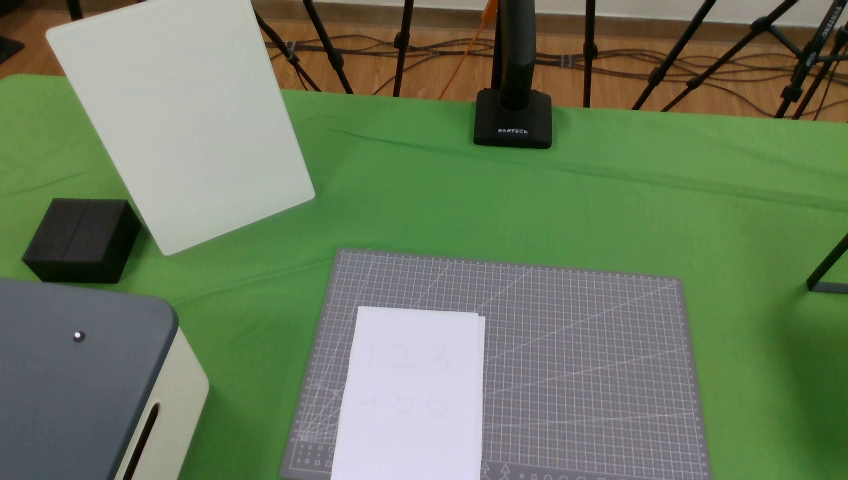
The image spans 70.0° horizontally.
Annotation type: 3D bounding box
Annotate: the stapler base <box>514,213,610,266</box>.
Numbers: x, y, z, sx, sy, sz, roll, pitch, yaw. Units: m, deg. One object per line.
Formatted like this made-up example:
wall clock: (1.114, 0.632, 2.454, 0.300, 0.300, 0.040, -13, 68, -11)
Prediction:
stapler base: (0.185, -0.012, 0.804, 0.130, 0.024, 0.041, 29, 58, 19)

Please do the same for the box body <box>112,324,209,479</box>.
box body: (-0.428, 0.184, 0.587, 0.364, 0.162, 0.252, 6, 54, 5)

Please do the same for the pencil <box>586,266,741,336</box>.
pencil: (0.291, 0.072, 0.751, 0.193, 0.012, 0.012, 25, 58, 21)

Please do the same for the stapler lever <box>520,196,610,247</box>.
stapler lever: (0.183, -0.028, 0.782, 0.117, 0.040, 0.027, 28, 58, 20)

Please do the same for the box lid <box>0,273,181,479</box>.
box lid: (-0.430, 0.139, 0.527, 0.371, 0.015, 0.261, 7, 53, 4)

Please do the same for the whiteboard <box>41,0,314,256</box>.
whiteboard: (-0.307, -0.175, 0.797, 0.217, 0.308, 0.142, -24, 38, -15)
